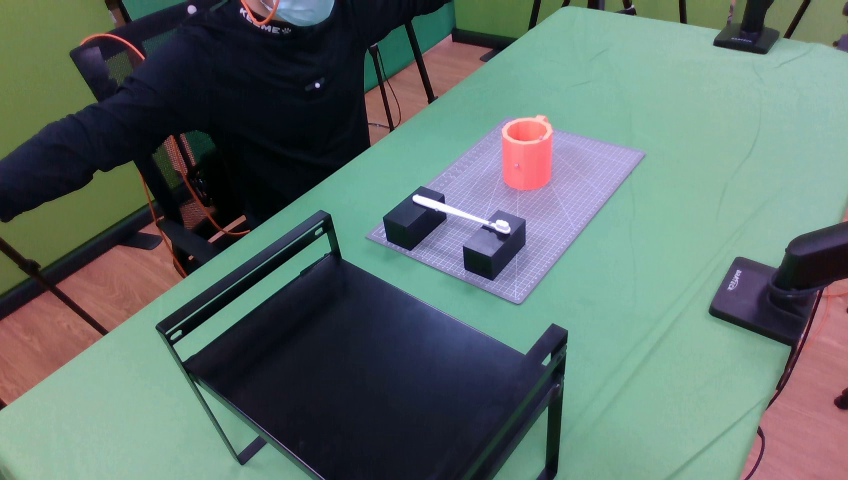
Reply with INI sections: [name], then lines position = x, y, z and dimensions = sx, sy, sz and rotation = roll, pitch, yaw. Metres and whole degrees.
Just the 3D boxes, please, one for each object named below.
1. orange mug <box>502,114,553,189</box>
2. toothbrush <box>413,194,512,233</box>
[orange mug]
position = 0.190, -0.164, 1.071
dimensions = 0.083, 0.101, 0.126
rotation = 16, 50, 25
[toothbrush]
position = 0.055, -0.044, 0.936
dimensions = 0.180, 0.017, 0.014
rotation = 20, 63, 30
